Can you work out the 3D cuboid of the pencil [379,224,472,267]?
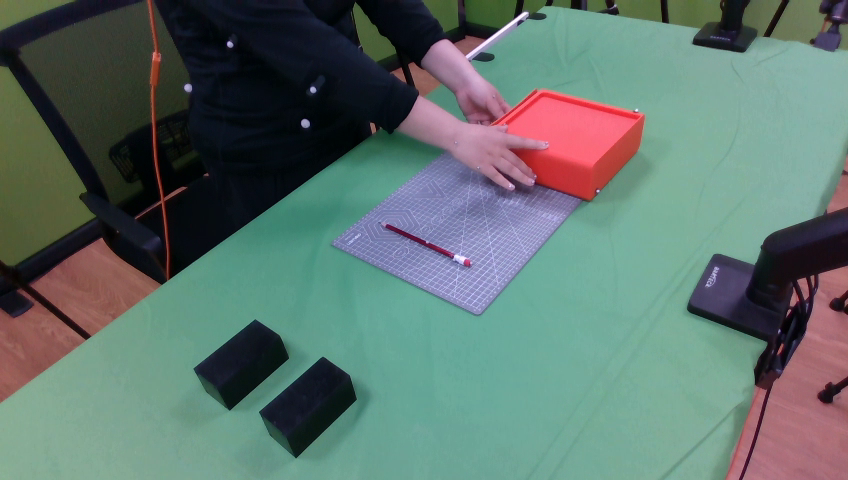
[{"bbox_3d":[-0.002,0.005,0.970,0.192,0.012,0.012,24,49,33],"label":"pencil"}]

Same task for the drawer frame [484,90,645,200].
[{"bbox_3d":[0.253,-0.179,1.095,0.212,0.083,0.202,24,48,31],"label":"drawer frame"}]

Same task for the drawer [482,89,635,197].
[{"bbox_3d":[0.243,-0.181,1.100,0.210,0.073,0.195,25,49,30],"label":"drawer"}]
